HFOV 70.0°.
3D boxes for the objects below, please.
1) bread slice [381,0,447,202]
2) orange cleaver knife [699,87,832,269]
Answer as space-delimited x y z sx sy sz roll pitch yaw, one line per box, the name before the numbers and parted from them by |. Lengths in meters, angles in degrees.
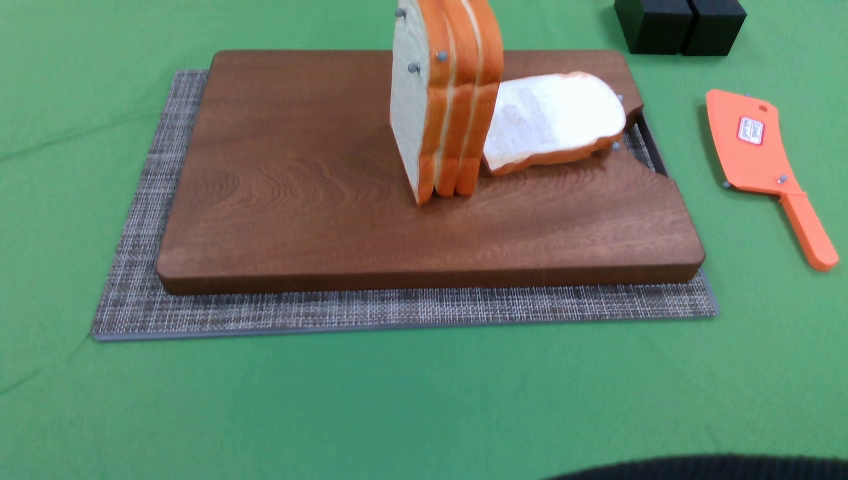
bread slice | -0.010 -0.114 0.453 0.018 0.135 0.105 -8 46 -16
orange cleaver knife | 0.298 -0.065 0.540 0.077 0.012 0.209 4 54 -3
